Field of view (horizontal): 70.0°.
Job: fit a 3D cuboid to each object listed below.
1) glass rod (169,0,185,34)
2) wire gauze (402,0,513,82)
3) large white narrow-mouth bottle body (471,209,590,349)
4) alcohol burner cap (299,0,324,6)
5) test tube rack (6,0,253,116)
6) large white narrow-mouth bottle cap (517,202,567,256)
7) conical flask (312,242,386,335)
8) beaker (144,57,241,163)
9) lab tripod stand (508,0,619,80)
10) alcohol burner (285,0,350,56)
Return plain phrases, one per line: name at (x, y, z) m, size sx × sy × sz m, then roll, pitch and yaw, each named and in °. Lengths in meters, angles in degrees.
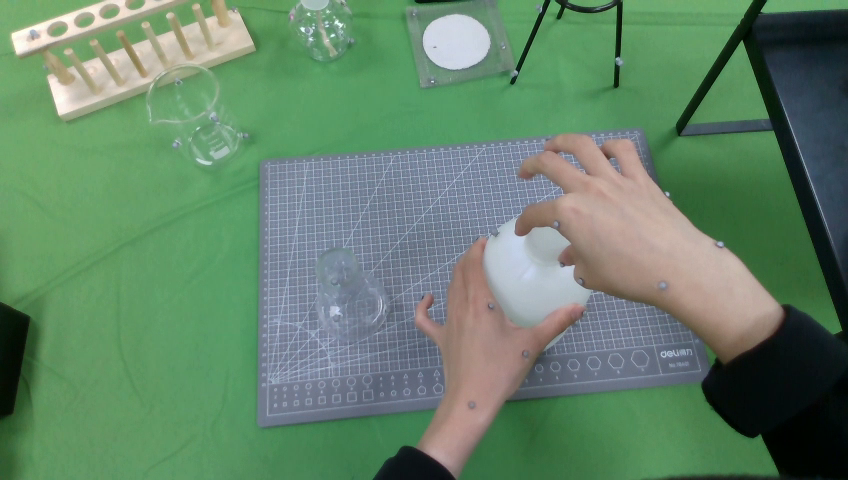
glass rod at (-0.293, -0.301, 0.668) m, size 0.008 × 0.201 × 0.008 m, roll 2°, pitch 65°, yaw -4°
wire gauze at (0.041, -0.260, 0.766) m, size 0.121 × 0.011 × 0.124 m, roll -9°, pitch 68°, yaw -5°
large white narrow-mouth bottle body at (0.095, 0.029, 0.545) m, size 0.102 × 0.196 × 0.101 m, roll -1°, pitch 67°, yaw 2°
alcohol burner cap at (-0.128, -0.293, 0.683) m, size 0.034 × 0.048 × 0.033 m, roll 4°, pitch 66°, yaw -8°
test tube rack at (-0.337, -0.239, 0.714) m, size 0.242 × 0.086 × 0.066 m, roll -24°, pitch 70°, yaw -10°
large white narrow-mouth bottle cap at (0.090, -0.008, 0.460) m, size 0.038 × 0.024 × 0.037 m, roll -1°, pitch 67°, yaw 2°
conical flask at (-0.078, 0.041, 0.577) m, size 0.075 × 0.123 × 0.075 m, roll 0°, pitch 67°, yaw 1°
beaker at (-0.251, -0.135, 0.664) m, size 0.073 × 0.101 × 0.084 m, roll 40°, pitch 73°, yaw 16°
lab tripod stand at (0.172, -0.257, 0.698) m, size 0.148 × 0.132 × 0.147 m, roll 1°, pitch 66°, yaw -2°
alcohol burner at (-0.128, -0.277, 0.716) m, size 0.078 × 0.120 × 0.077 m, roll 0°, pitch 65°, yaw -1°
